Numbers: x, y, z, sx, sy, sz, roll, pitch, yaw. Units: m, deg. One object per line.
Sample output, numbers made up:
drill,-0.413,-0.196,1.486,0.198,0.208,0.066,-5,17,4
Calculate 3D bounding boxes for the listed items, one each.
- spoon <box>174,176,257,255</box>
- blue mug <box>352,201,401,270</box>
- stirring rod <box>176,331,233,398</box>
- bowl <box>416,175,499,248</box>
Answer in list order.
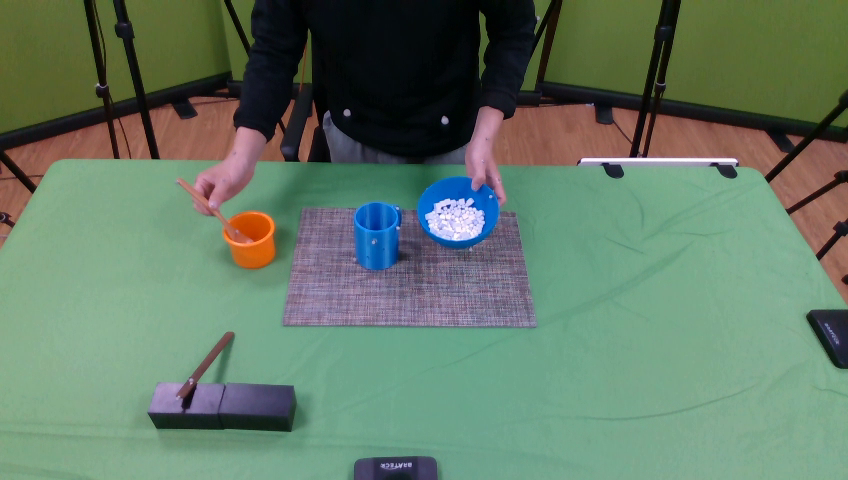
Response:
spoon,-0.369,-0.043,1.080,0.021,0.195,0.041,-20,32,28
blue mug,-0.082,-0.017,1.144,0.082,0.106,0.116,30,51,22
stirring rod,-0.342,0.192,0.955,0.014,0.006,0.175,3,24,7
bowl,0.062,-0.038,1.124,0.151,0.077,0.150,-2,56,3
